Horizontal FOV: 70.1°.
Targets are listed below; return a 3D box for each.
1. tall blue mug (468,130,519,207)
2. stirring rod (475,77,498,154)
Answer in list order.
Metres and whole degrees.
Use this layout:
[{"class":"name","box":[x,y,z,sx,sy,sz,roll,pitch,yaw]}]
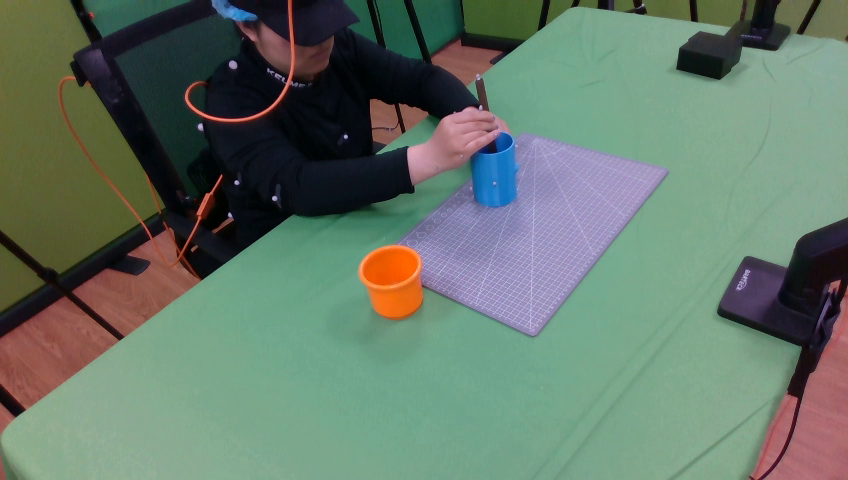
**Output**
[{"class":"tall blue mug","box":[0.114,-0.131,1.045,0.078,0.108,0.106,-20,41,-10]},{"class":"stirring rod","box":[0.106,-0.189,0.994,0.014,0.177,0.005,-35,44,-17]}]
